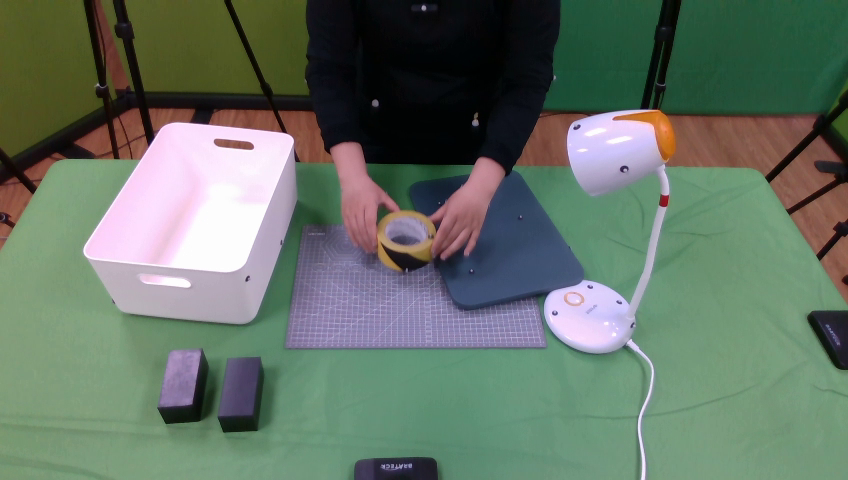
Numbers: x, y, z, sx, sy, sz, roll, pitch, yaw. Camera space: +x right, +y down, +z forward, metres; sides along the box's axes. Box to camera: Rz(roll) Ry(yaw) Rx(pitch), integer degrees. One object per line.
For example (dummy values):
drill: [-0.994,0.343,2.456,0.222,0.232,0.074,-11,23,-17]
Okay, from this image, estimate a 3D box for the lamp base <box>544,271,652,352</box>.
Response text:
lamp base: [0.310,0.086,1.029,0.178,0.181,0.160,32,52,21]

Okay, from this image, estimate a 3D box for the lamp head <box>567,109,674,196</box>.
lamp head: [0.272,-0.123,0.818,0.122,0.113,0.112,-9,35,37]

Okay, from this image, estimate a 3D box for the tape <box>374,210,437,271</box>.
tape: [-0.035,0.000,1.129,0.117,0.053,0.116,2,46,-2]

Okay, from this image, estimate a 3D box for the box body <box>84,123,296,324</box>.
box body: [-0.393,-0.035,1.104,0.254,0.161,0.362,5,46,1]

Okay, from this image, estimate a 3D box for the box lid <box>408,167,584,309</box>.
box lid: [0.133,-0.018,1.223,0.263,0.015,0.369,-11,45,-12]
